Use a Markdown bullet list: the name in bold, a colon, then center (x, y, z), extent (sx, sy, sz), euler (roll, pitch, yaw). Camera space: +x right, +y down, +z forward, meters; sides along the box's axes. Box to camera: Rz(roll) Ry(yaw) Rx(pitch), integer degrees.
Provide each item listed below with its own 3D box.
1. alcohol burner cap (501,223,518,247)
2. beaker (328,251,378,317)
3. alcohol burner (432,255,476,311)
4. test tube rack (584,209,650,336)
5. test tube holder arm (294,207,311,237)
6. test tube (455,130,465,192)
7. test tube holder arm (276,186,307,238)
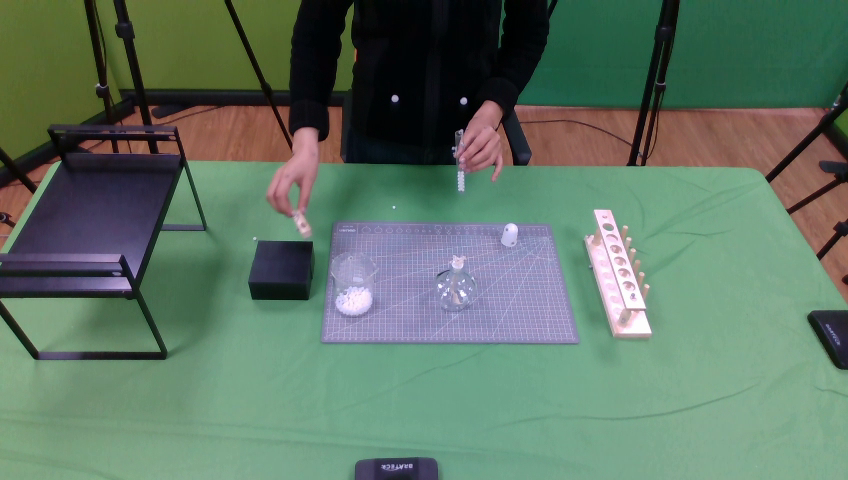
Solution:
- **alcohol burner cap**: center (0.172, -0.013, 1.207), extent (0.034, 0.048, 0.033), euler (1, 45, -1)
- **beaker**: center (-0.123, 0.079, 1.055), extent (0.084, 0.101, 0.073), euler (0, 47, -5)
- **alcohol burner**: center (0.055, 0.070, 1.068), extent (0.078, 0.119, 0.077), euler (3, 45, -3)
- **test tube rack**: center (0.365, 0.056, 1.129), extent (0.067, 0.085, 0.240), euler (1, 46, -3)
- **test tube holder arm**: center (-0.220, -0.034, 1.083), extent (0.010, 0.015, 0.087), euler (-17, 38, -21)
- **test tube**: center (0.068, -0.146, 1.146), extent (0.017, 0.151, 0.017), euler (-2, 50, 3)
- **test tube holder arm**: center (-0.246, -0.055, 1.114), extent (0.013, 0.015, 0.177), euler (-17, 38, -21)
